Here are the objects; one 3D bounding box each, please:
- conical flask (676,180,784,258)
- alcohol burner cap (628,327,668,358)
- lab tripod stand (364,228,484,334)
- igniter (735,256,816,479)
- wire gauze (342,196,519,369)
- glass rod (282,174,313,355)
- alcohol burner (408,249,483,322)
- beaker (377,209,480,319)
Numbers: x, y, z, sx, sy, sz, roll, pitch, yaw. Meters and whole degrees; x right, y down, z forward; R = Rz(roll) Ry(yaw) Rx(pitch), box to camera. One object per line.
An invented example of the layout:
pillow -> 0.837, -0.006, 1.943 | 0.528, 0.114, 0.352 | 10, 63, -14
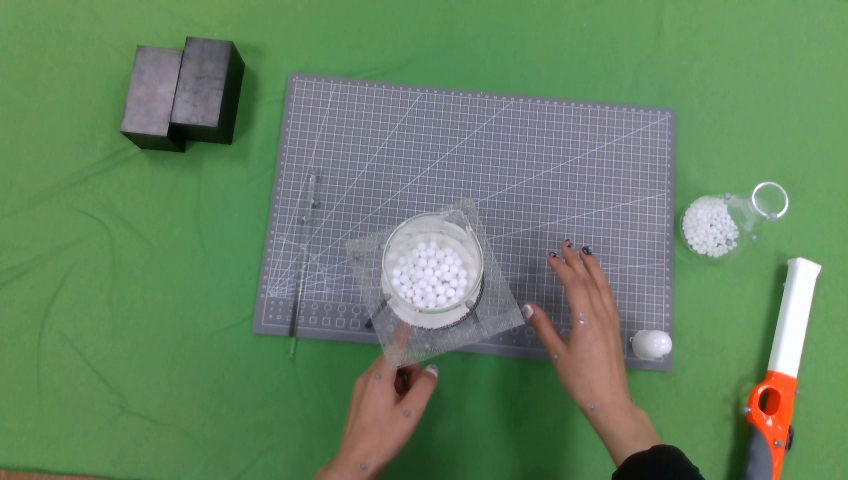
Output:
conical flask -> 0.319, -0.027, 0.625 | 0.075, 0.122, 0.075 | 0, 78, -1
alcohol burner cap -> 0.238, 0.106, 0.635 | 0.034, 0.048, 0.033 | 0, 78, -2
lab tripod stand -> 0.003, 0.049, 0.593 | 0.148, 0.132, 0.148 | 0, 81, -1
igniter -> 0.371, 0.149, 0.641 | 0.057, 0.025, 0.275 | 20, 79, -8
wire gauze -> 0.005, 0.036, 0.528 | 0.125, 0.011, 0.121 | -19, 83, -7
glass rod -> -0.136, 0.024, 0.656 | 0.008, 0.008, 0.199 | 6, 82, -1
alcohol burner -> 0.022, 0.044, 0.604 | 0.078, 0.119, 0.077 | 0, 77, 0
beaker -> 0.004, 0.023, 0.482 | 0.074, 0.100, 0.084 | 27, 79, 3
